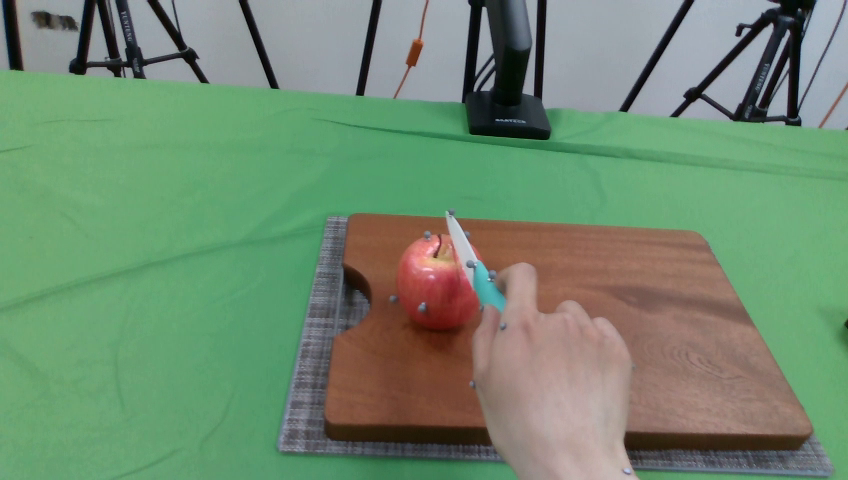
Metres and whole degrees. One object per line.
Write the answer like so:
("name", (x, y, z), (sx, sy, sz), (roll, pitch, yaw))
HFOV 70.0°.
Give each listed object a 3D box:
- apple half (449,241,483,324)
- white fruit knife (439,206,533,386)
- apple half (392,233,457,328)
("apple half", (0.037, 0.035, 0.540), (0.033, 0.082, 0.080), (-3, 40, -5))
("white fruit knife", (0.040, 0.028, 0.468), (0.016, 0.027, 0.205), (6, 32, -21))
("apple half", (-0.001, 0.037, 0.535), (0.053, 0.075, 0.080), (-4, 44, -5))
